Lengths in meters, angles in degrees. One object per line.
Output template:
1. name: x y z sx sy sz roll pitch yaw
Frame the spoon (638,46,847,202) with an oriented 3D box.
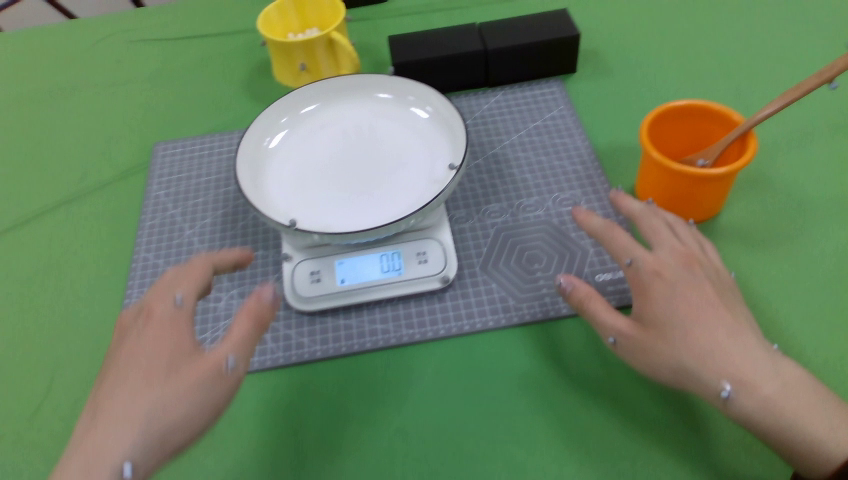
1. spoon: 0.261 -0.092 0.494 0.022 0.194 0.041 18 45 -37

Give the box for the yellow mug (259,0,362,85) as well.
1. yellow mug: -0.121 -0.230 0.697 0.130 0.064 0.100 30 62 26

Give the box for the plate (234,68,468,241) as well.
1. plate: -0.063 -0.078 0.548 0.209 0.038 0.207 -2 52 3

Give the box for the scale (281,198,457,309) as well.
1. scale: -0.057 -0.035 0.556 0.149 0.032 0.198 -10 52 -1
